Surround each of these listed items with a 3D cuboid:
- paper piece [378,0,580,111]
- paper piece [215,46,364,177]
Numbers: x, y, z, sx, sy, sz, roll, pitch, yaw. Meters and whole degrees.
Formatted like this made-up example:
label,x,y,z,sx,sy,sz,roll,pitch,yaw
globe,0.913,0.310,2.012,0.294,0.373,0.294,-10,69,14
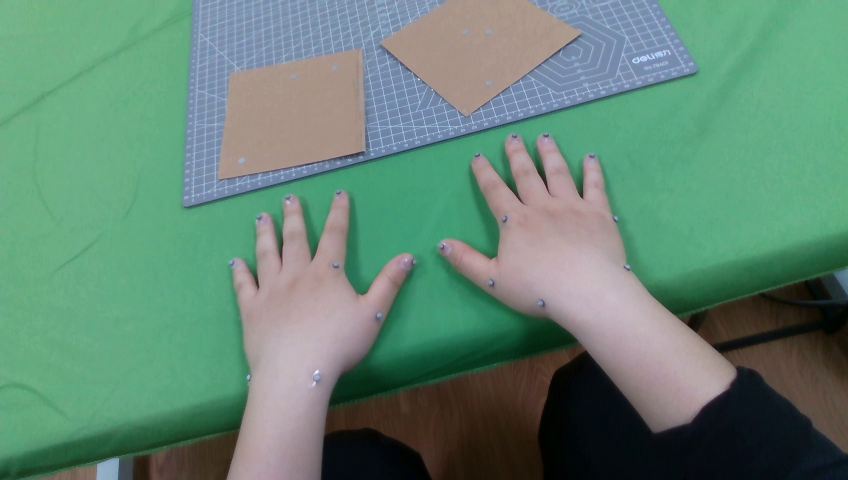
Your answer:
label,x,y,z,sx,sy,sz,roll,pitch,yaw
paper piece,0.048,-0.190,0.562,0.135,0.004,0.134,-36,59,-12
paper piece,-0.122,-0.122,0.557,0.138,0.009,0.134,-9,54,7
